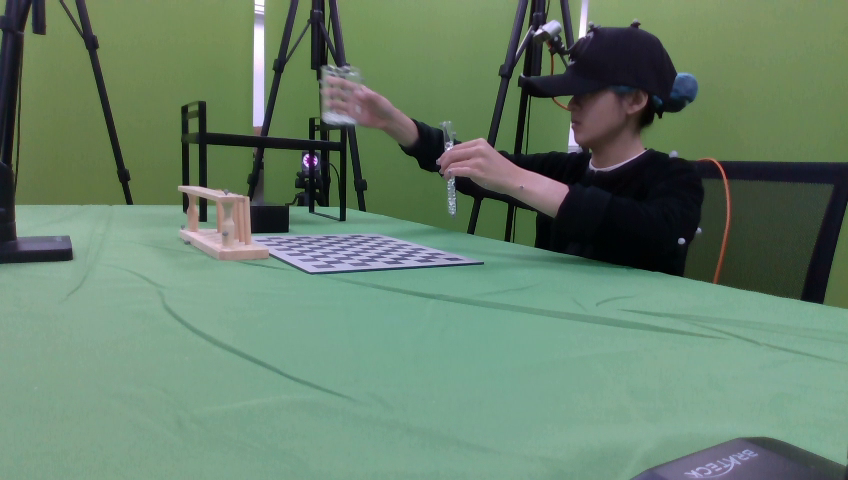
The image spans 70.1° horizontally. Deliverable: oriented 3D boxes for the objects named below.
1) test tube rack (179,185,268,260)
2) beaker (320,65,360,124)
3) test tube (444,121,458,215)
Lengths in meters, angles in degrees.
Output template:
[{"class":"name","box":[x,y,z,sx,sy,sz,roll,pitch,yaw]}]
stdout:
[{"class":"test tube rack","box":[-0.303,-0.031,0.898,0.067,0.085,0.241,-2,9,-33]},{"class":"beaker","box":[-0.157,-0.269,1.124,0.074,0.100,0.084,1,5,-7]},{"class":"test tube","box":[0.043,-0.115,0.968,0.017,0.150,0.017,-3,8,1]}]
